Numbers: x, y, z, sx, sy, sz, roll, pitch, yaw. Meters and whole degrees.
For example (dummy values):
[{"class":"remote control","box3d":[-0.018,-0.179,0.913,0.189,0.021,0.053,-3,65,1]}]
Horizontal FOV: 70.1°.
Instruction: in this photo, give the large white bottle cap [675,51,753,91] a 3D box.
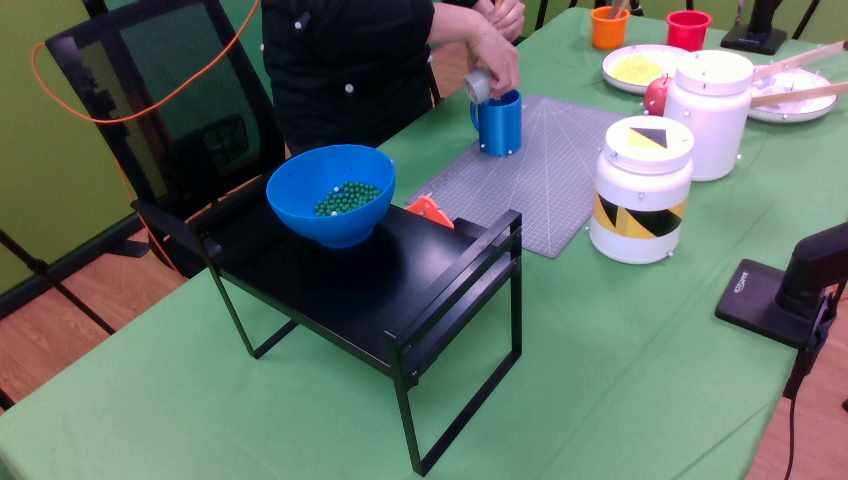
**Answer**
[{"class":"large white bottle cap","box3d":[0.463,-0.271,0.967,0.115,0.018,0.114,-4,40,4]}]

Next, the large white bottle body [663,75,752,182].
[{"class":"large white bottle body","box3d":[0.472,-0.207,1.022,0.130,0.185,0.130,-4,41,4]}]

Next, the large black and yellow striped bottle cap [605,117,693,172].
[{"class":"large black and yellow striped bottle cap","box3d":[0.309,-0.134,0.833,0.115,0.019,0.114,-5,40,5]}]

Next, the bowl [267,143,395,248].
[{"class":"bowl","box3d":[-0.104,-0.043,0.726,0.151,0.077,0.150,-4,41,4]}]

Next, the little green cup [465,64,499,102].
[{"class":"little green cup","box3d":[0.103,-0.280,1.086,0.038,0.062,0.061,-32,43,0]}]

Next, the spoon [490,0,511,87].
[{"class":"spoon","box3d":[0.137,-0.370,1.095,0.042,0.021,0.193,6,75,-20]}]

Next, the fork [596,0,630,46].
[{"class":"fork","box3d":[0.481,-0.556,1.452,0.028,0.019,0.207,40,103,40]}]

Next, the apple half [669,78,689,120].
[{"class":"apple half","box3d":[0.498,-0.273,1.180,0.032,0.082,0.081,7,42,25]}]

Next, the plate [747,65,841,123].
[{"class":"plate","box3d":[0.694,-0.282,1.189,0.207,0.039,0.206,-4,40,4]}]

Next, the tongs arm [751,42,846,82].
[{"class":"tongs arm","box3d":[0.708,-0.331,1.193,0.386,0.026,0.050,-18,45,-16]}]

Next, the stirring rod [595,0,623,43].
[{"class":"stirring rod","box3d":[0.460,-0.556,1.460,0.014,0.006,0.176,30,93,23]}]

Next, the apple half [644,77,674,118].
[{"class":"apple half","box3d":[0.463,-0.279,1.194,0.053,0.075,0.081,8,46,24]}]

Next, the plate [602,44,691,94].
[{"class":"plate","box3d":[0.495,-0.367,1.317,0.209,0.038,0.208,-4,40,4]}]

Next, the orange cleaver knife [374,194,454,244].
[{"class":"orange cleaver knife","box3d":[-0.032,-0.026,0.964,0.210,0.077,0.012,-9,29,51]}]

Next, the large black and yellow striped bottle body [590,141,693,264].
[{"class":"large black and yellow striped bottle body","box3d":[0.317,-0.071,0.889,0.131,0.185,0.130,-4,41,4]}]

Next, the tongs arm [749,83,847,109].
[{"class":"tongs arm","box3d":[0.734,-0.280,1.133,0.388,0.028,0.028,-9,47,-5]}]

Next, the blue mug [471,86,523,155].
[{"class":"blue mug","box3d":[0.135,-0.235,1.163,0.082,0.106,0.115,-36,48,-28]}]
